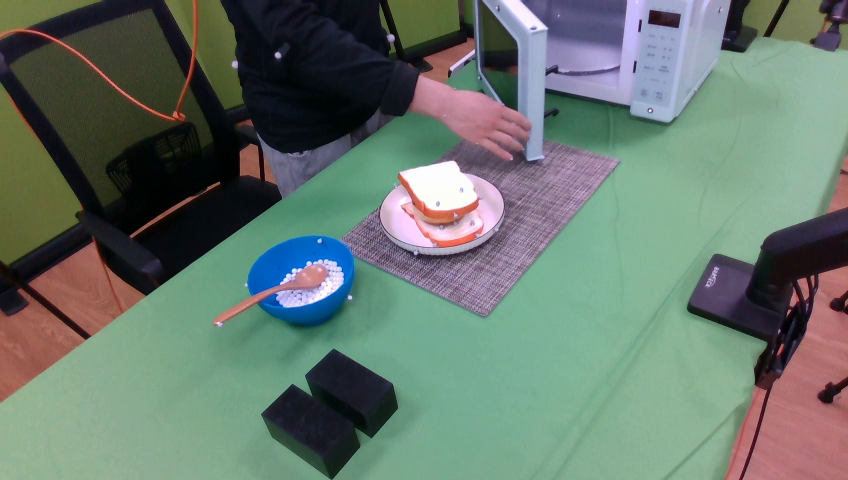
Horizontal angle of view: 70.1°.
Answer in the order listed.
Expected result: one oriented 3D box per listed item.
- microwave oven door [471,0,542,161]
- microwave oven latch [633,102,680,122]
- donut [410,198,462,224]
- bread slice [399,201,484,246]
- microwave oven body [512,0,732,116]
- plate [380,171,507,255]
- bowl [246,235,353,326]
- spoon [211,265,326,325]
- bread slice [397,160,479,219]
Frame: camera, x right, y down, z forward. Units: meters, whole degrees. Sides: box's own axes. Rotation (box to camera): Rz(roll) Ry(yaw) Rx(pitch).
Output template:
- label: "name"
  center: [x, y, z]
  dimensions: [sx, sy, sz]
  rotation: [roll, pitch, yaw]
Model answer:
- label: "microwave oven door"
  center: [0.152, -0.344, 1.154]
  dimensions: [0.039, 0.245, 0.353]
  rotation: [-12, 41, -5]
- label: "microwave oven latch"
  center: [0.444, -0.249, 1.157]
  dimensions: [0.078, 0.029, 0.030]
  rotation: [22, 49, 31]
- label: "donut"
  center: [0.028, -0.064, 0.979]
  dimensions: [0.099, 0.048, 0.098]
  rotation: [-4, 40, 4]
- label: "bread slice"
  center: [0.037, -0.038, 0.990]
  dimensions: [0.107, 0.018, 0.133]
  rotation: [-23, 43, -17]
- label: "microwave oven body"
  center: [0.377, -0.462, 1.267]
  dimensions: [0.438, 0.261, 0.327]
  rotation: [21, 48, 30]
- label: "plate"
  center: [0.033, -0.042, 0.996]
  dimensions: [0.207, 0.039, 0.206]
  rotation: [-4, 40, 4]
- label: "bowl"
  center: [-0.170, 0.070, 0.868]
  dimensions: [0.151, 0.077, 0.150]
  rotation: [-4, 41, 4]
- label: "spoon"
  center: [-0.208, 0.072, 0.822]
  dimensions: [0.041, 0.021, 0.195]
  rotation: [27, 29, 27]
- label: "bread slice"
  center: [0.028, -0.081, 0.952]
  dimensions: [0.105, 0.019, 0.130]
  rotation: [-14, 43, -18]
